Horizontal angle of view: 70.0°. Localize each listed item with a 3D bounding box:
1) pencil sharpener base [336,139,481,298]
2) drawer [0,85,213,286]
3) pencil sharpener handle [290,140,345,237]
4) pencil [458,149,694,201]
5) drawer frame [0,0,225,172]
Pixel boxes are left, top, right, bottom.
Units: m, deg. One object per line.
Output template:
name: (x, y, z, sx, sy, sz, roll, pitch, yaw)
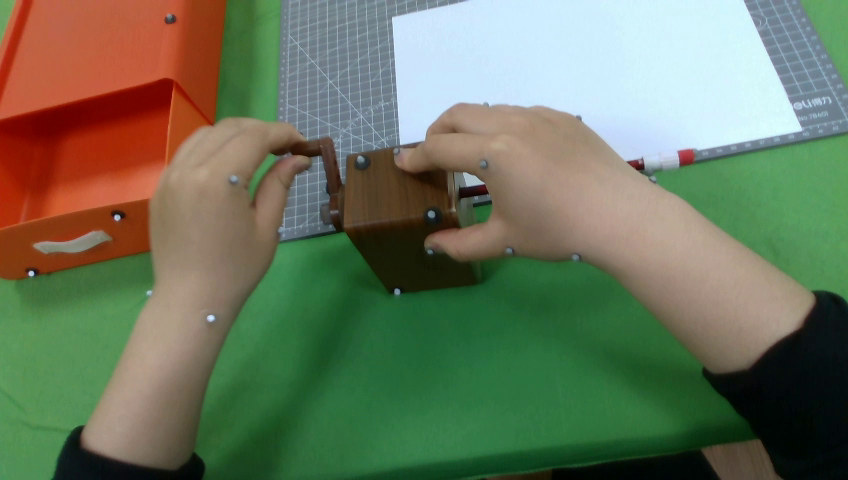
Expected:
pencil sharpener base: (-0.007, -0.010, 0.414, 0.076, 0.108, 0.061, -9, 61, 11)
drawer: (-0.292, -0.079, 0.540, 0.194, 0.074, 0.209, -12, 60, 9)
pencil sharpener handle: (-0.066, -0.030, 0.397, 0.030, 0.036, 0.068, -9, 95, 11)
pencil: (0.065, -0.035, 0.374, 0.194, 0.012, 0.012, -9, 61, 9)
drawer frame: (-0.306, -0.182, 0.594, 0.201, 0.083, 0.211, -12, 60, 9)
